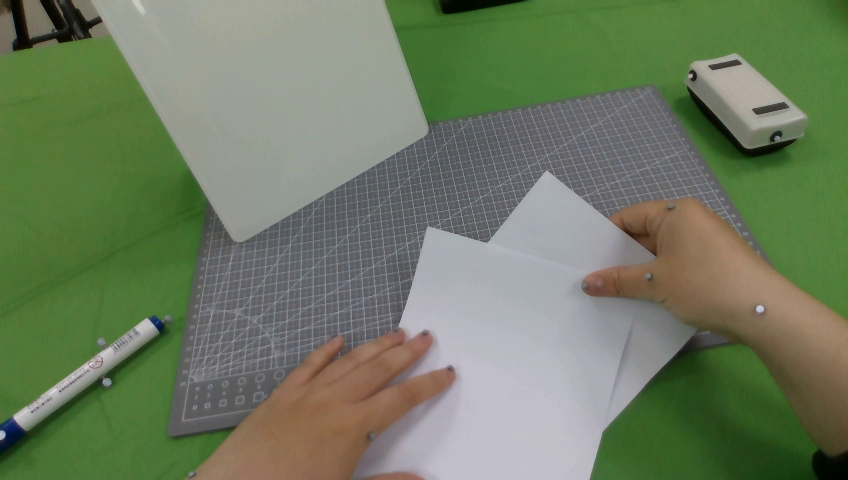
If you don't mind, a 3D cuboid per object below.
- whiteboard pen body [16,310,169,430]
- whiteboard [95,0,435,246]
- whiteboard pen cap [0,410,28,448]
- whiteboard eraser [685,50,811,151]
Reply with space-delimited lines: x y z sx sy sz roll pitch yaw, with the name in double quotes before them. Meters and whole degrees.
"whiteboard pen body" -0.252 0.100 0.445 0.017 0.017 0.140 32 59 31
"whiteboard" -0.158 -0.193 0.539 0.217 0.308 0.142 -33 32 -19
"whiteboard pen cap" -0.292 0.133 0.419 0.018 0.018 0.033 32 59 31
"whiteboard eraser" 0.290 -0.127 0.551 0.055 0.042 0.111 -15 49 -3
